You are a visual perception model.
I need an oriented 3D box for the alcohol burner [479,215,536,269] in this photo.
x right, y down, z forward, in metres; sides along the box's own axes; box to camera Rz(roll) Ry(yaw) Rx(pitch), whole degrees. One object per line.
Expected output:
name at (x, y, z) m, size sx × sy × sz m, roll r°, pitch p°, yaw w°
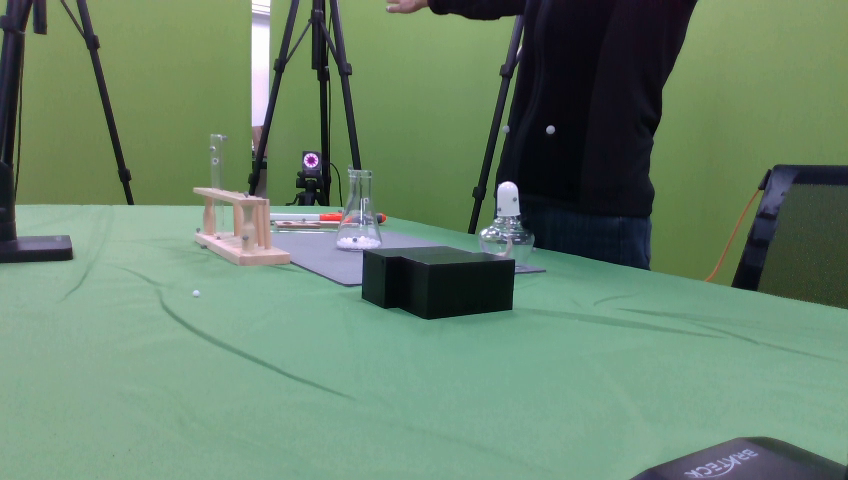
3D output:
alcohol burner at (0.113, -0.021, 0.816) m, size 0.078 × 0.119 × 0.078 m, roll 2°, pitch 9°, yaw 0°

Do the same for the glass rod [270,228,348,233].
glass rod at (-0.234, -0.017, 1.104) m, size 0.201 × 0.008 × 0.008 m, roll 1°, pitch 7°, yaw -26°

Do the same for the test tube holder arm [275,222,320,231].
test tube holder arm at (-0.238, -0.026, 1.145) m, size 0.088 × 0.015 × 0.010 m, roll -3°, pitch 46°, yaw -39°

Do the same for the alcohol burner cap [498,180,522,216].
alcohol burner cap at (0.114, -0.056, 0.810) m, size 0.034 × 0.048 × 0.034 m, roll -5°, pitch 12°, yaw 1°

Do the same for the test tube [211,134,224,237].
test tube at (-0.300, -0.078, 0.881) m, size 0.017 × 0.150 × 0.017 m, roll 3°, pitch 12°, yaw 0°

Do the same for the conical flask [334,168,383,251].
conical flask at (-0.098, -0.047, 0.920) m, size 0.075 × 0.122 × 0.075 m, roll 3°, pitch 7°, yaw 0°

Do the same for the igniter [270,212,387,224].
igniter at (-0.213, -0.048, 1.278) m, size 0.278 × 0.025 × 0.057 m, roll -1°, pitch -2°, yaw -25°

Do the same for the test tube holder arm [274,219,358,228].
test tube holder arm at (-0.206, -0.032, 1.177) m, size 0.179 × 0.015 × 0.013 m, roll -4°, pitch 46°, yaw -39°

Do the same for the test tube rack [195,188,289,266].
test tube rack at (-0.266, -0.025, 0.864) m, size 0.067 × 0.085 × 0.241 m, roll -2°, pitch 9°, yaw -33°
